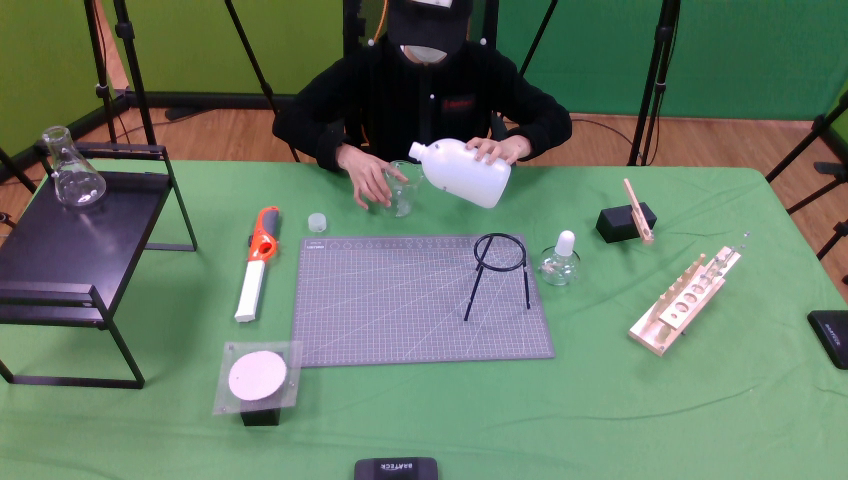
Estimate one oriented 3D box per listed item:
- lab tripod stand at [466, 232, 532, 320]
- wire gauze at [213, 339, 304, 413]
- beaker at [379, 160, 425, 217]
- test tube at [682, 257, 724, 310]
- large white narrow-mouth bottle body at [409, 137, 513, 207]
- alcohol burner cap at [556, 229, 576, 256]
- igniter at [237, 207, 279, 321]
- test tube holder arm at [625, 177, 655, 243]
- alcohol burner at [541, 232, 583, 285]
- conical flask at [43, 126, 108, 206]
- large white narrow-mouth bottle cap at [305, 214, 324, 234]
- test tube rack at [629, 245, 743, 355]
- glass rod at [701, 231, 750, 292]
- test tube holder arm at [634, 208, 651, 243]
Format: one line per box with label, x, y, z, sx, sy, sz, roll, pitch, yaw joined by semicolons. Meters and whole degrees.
lab tripod stand;0.125;0.059;1.065;0.148;0.132;0.147;1;45;0
wire gauze;-0.250;0.203;0.924;0.121;0.011;0.124;-1;46;-3
beaker;-0.047;-0.102;1.233;0.084;0.100;0.073;0;50;-17
test tube;0.475;0.080;1.037;0.017;0.151;0.017;2;51;-2
large white narrow-mouth bottle body;0.065;-0.141;1.163;0.195;0.102;0.101;22;47;0
alcohol burner cap;0.260;0.002;1.098;0.034;0.048;0.033;3;40;-2
igniter;-0.309;0.036;1.136;0.057;0.025;0.274;-7;45;5
test tube holder arm;0.433;-0.063;1.220;0.013;0.015;0.177;1;47;-3
alcohol burner;0.258;0.028;1.123;0.078;0.120;0.077;1;48;-1
conical flask;-0.555;-0.119;0.953;0.075;0.122;0.075;2;46;-2
large white narrow-mouth bottle cap;-0.219;-0.033;1.214;0.038;0.024;0.037;2;46;-2
test tube rack;0.474;0.095;1.091;0.242;0.085;0.066;-34;56;-31
glass rod;0.519;0.045;1.050;0.008;0.201;0.008;0;55;0
test tube holder arm;0.428;-0.030;1.189;0.010;0.015;0.087;2;47;-2
